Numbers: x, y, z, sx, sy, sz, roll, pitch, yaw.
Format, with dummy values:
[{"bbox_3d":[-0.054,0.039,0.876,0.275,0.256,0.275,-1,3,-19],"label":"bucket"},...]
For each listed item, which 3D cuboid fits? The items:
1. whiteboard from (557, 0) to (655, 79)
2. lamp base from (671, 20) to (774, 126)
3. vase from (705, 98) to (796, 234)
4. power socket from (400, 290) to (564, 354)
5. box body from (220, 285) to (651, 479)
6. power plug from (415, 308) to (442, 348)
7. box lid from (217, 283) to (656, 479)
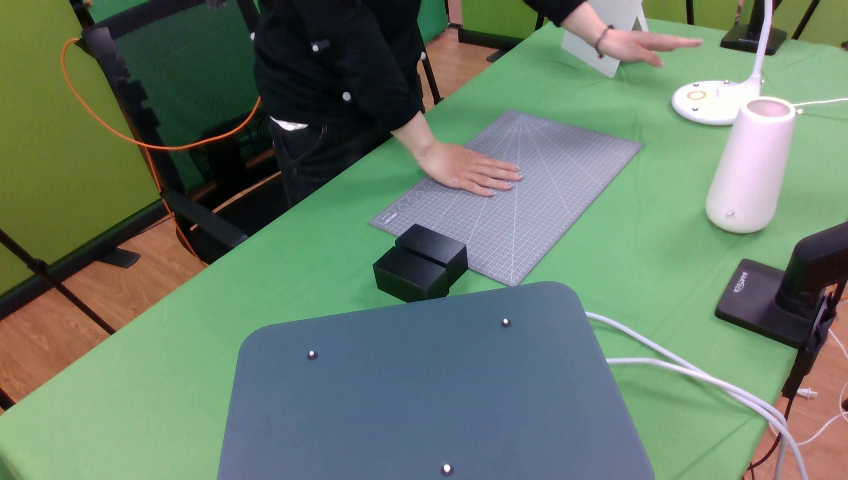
[{"bbox_3d":[0.462,-0.542,1.367,0.145,0.306,0.215,-3,36,-25],"label":"whiteboard"},{"bbox_3d":[0.581,-0.332,1.154,0.179,0.181,0.160,2,42,7],"label":"lamp base"},{"bbox_3d":[0.480,-0.104,0.889,0.098,0.201,0.097,-4,42,4],"label":"vase"},{"bbox_3d":[0.079,0.111,0.823,0.227,0.033,0.072,-5,41,1],"label":"power socket"},{"bbox_3d":[0.005,0.211,0.616,0.364,0.161,0.252,-9,40,-2],"label":"box body"},{"bbox_3d":[0.004,0.121,0.786,0.035,0.053,0.072,1,45,8],"label":"power plug"},{"bbox_3d":[-0.004,0.155,0.568,0.372,0.015,0.261,-8,39,-2],"label":"box lid"}]
